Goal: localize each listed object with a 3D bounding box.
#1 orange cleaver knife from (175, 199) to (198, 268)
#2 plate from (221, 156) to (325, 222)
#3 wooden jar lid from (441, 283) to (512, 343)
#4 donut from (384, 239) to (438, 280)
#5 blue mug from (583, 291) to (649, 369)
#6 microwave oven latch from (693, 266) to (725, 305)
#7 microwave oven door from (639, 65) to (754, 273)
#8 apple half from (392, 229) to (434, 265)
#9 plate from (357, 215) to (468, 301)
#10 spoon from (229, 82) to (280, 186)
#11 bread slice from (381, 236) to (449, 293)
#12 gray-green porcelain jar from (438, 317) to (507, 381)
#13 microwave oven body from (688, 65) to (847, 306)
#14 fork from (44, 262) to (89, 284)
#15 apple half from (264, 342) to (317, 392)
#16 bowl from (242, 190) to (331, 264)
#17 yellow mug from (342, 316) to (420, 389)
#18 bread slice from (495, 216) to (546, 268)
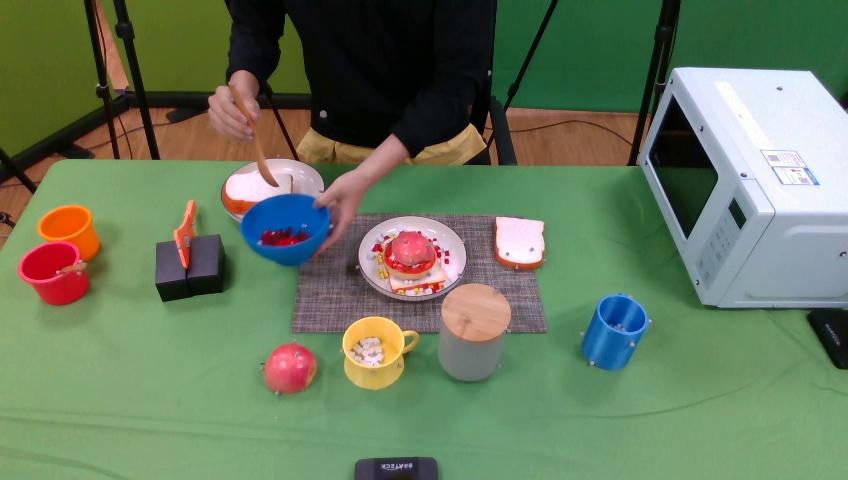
[{"bbox_3d":[-0.438,-0.017,1.138,0.012,0.077,0.210,-14,27,-7],"label":"orange cleaver knife"},{"bbox_3d":[-0.308,-0.095,1.251,0.209,0.038,0.208,3,46,-3],"label":"plate"},{"bbox_3d":[0.080,0.114,0.931,0.108,0.021,0.107,1,49,-1],"label":"wooden jar lid"},{"bbox_3d":[-0.024,0.030,1.110,0.099,0.048,0.098,3,46,-3],"label":"donut"},{"bbox_3d":[0.324,0.142,1.023,0.082,0.106,0.116,15,47,11],"label":"blue mug"},{"bbox_3d":[0.523,0.082,1.115,0.030,0.029,0.078,3,46,0],"label":"microwave oven latch"},{"bbox_3d":[0.522,-0.147,1.193,0.039,0.245,0.353,0,47,-3],"label":"microwave oven door"},{"bbox_3d":[-0.020,0.005,1.083,0.081,0.033,0.081,6,50,-7],"label":"apple half"},{"bbox_3d":[-0.022,0.037,1.141,0.208,0.039,0.206,2,46,-2],"label":"plate"},{"bbox_3d":[-0.280,-0.170,1.000,0.021,0.195,0.041,-32,36,-27],"label":"spoon"},{"bbox_3d":[-0.027,0.040,1.141,0.107,0.018,0.133,-13,48,-15],"label":"bread slice"},{"bbox_3d":[0.076,0.158,0.977,0.106,0.127,0.105,2,47,-2],"label":"gray-green porcelain jar"},{"bbox_3d":[0.669,-0.111,1.176,0.326,0.261,0.439,0,46,-3],"label":"microwave oven body"},{"bbox_3d":[-0.598,0.054,1.014,0.207,0.019,0.028,-15,29,45],"label":"fork"},{"bbox_3d":[-0.214,0.198,0.970,0.074,0.053,0.080,19,48,10],"label":"apple half"},{"bbox_3d":[-0.232,-0.012,1.055,0.151,0.077,0.150,-1,41,1],"label":"bowl"},{"bbox_3d":[-0.067,0.177,0.991,0.131,0.064,0.099,-16,50,-19],"label":"yellow mug"},{"bbox_3d":[0.194,0.002,1.205,0.105,0.019,0.131,5,45,2],"label":"bread slice"}]
